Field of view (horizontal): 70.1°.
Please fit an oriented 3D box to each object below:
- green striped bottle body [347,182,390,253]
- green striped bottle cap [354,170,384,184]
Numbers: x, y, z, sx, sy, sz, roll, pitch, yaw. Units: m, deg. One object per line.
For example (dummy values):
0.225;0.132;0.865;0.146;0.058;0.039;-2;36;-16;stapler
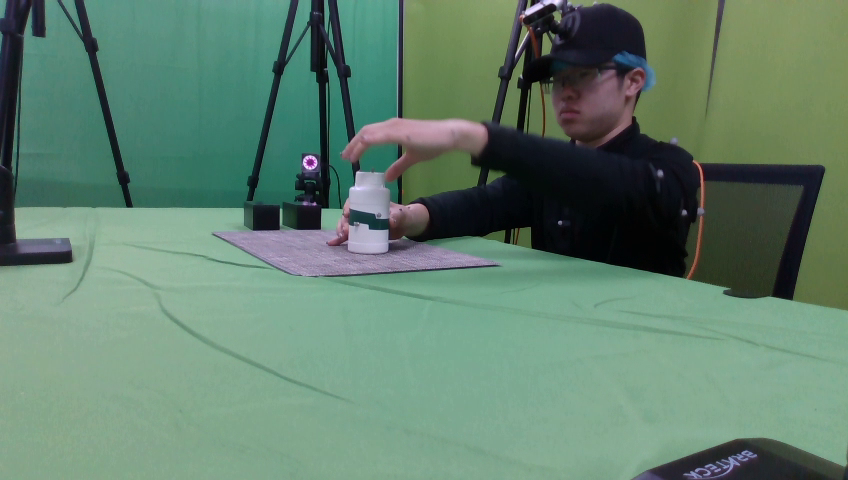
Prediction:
-0.084;-0.042;0.913;0.063;0.119;0.063;3;7;0;green striped bottle body
-0.082;-0.094;0.907;0.044;0.020;0.044;5;8;0;green striped bottle cap
